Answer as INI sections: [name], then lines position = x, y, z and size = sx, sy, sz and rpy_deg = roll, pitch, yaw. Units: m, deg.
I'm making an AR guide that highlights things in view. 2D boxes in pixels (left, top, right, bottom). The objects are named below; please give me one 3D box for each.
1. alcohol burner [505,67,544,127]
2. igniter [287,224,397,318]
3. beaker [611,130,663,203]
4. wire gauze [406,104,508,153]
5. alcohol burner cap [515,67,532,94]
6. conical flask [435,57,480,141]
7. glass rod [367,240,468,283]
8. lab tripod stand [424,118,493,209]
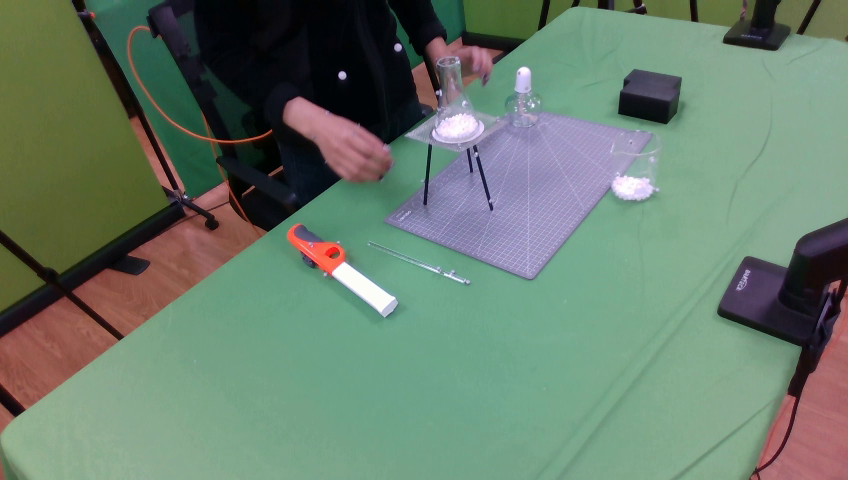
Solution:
[alcohol burner]
position = 0.201, -0.288, 1.211
size = 0.078, 0.119, 0.077
rpy_deg = -6, 38, 5
[igniter]
position = -0.139, 0.042, 0.958
size = 0.057, 0.025, 0.274
rpy_deg = -42, 49, -19
[beaker]
position = 0.346, -0.118, 0.998
size = 0.084, 0.101, 0.073
rpy_deg = -17, 40, -7
[wire gauze]
position = 0.054, -0.183, 0.997
size = 0.120, 0.011, 0.125
rpy_deg = 26, 53, 38
[alcohol burner cap]
position = 0.197, -0.315, 1.187
size = 0.034, 0.048, 0.033
rpy_deg = -3, 47, 3
[conical flask]
position = 0.046, -0.225, 0.955
size = 0.075, 0.122, 0.075
rpy_deg = -7, 39, 6
[glass rod]
position = -0.015, 0.032, 0.959
size = 0.198, 0.008, 0.008
rpy_deg = 21, 49, 30
[lab tripod stand]
position = 0.061, -0.133, 1.038
size = 0.148, 0.132, 0.147
rpy_deg = -6, 38, 6
